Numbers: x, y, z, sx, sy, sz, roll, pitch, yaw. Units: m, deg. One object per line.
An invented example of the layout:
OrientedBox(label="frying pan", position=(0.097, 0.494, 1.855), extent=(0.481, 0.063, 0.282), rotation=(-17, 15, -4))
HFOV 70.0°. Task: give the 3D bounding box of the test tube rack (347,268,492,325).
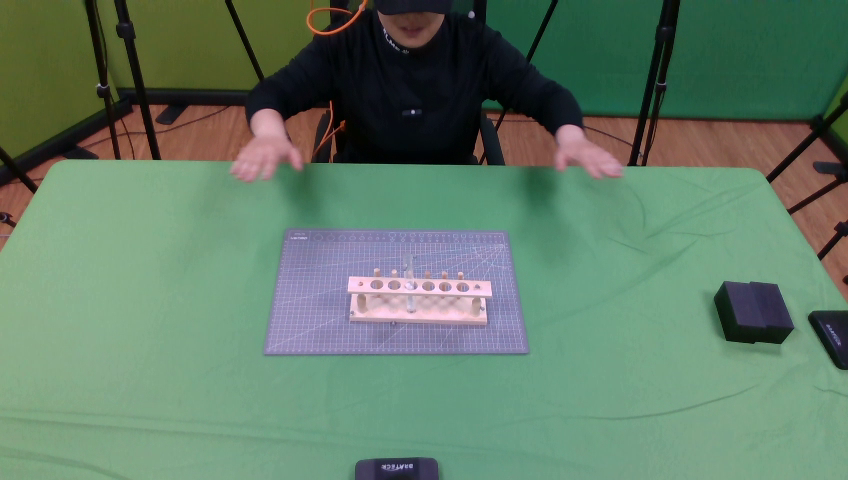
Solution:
OrientedBox(label="test tube rack", position=(-0.009, 0.095, 1.059), extent=(0.242, 0.085, 0.066), rotation=(2, 46, -2))

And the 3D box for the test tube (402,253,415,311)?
OrientedBox(label="test tube", position=(-0.025, 0.073, 1.010), extent=(0.017, 0.151, 0.017), rotation=(-1, 49, 1))
